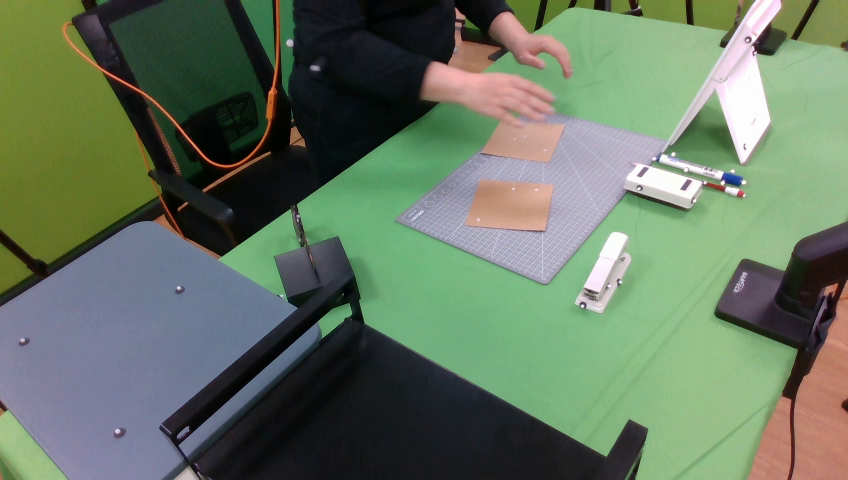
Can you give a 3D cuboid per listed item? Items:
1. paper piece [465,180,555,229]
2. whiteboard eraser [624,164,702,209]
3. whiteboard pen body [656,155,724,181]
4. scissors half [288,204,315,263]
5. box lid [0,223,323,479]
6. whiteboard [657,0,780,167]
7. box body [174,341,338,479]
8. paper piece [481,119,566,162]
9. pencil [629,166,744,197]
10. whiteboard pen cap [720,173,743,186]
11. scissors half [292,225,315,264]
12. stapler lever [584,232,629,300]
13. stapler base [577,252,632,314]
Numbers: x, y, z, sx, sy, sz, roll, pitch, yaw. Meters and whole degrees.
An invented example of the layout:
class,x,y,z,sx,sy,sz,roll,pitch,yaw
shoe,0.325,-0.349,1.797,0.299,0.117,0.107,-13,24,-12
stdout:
class,x,y,z,sx,sy,sz,roll,pitch,yaw
paper piece,0.149,-0.062,1.034,0.137,0.009,0.136,4,37,16
whiteboard eraser,0.396,-0.087,1.003,0.112,0.042,0.056,22,47,31
whiteboard pen body,0.475,-0.123,1.052,0.139,0.017,0.017,24,49,32
scissors half,-0.191,-0.010,0.944,0.013,0.040,0.173,-16,37,-16
box lid,-0.318,0.109,0.671,0.368,0.015,0.264,24,49,31
whiteboard,0.571,-0.272,1.038,0.143,0.306,0.218,37,54,17
box body,-0.311,0.165,0.720,0.361,0.161,0.255,23,49,32
paper piece,0.197,-0.199,1.188,0.135,0.004,0.135,10,45,22
pencil,0.446,-0.103,1.038,0.192,0.012,0.012,20,48,29
whiteboard pen cap,0.519,-0.103,1.020,0.033,0.018,0.018,23,49,30
scissors half,-0.188,0.007,0.954,0.013,0.040,0.174,-21,22,-13
stapler lever,0.261,0.034,0.858,0.026,0.040,0.118,16,46,30
stapler base,0.264,0.051,0.875,0.041,0.024,0.131,16,47,30
